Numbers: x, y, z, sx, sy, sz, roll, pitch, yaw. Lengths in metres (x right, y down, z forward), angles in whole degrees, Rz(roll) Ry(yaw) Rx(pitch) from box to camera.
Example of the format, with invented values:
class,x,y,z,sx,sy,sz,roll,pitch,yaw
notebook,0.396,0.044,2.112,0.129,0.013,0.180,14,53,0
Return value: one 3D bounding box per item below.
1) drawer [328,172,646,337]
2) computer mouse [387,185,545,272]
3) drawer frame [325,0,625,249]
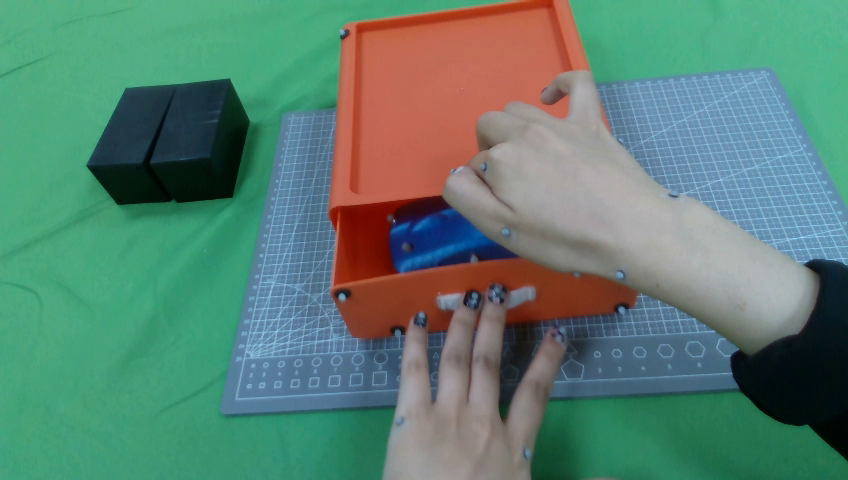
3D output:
class,x,y,z,sx,sy,sz,roll,pitch,yaw
drawer,0.036,-0.041,0.450,0.194,0.074,0.209,-7,52,4
computer mouse,0.029,-0.011,0.444,0.117,0.041,0.062,-9,56,10
drawer frame,0.031,-0.092,0.485,0.201,0.083,0.211,-7,52,4
